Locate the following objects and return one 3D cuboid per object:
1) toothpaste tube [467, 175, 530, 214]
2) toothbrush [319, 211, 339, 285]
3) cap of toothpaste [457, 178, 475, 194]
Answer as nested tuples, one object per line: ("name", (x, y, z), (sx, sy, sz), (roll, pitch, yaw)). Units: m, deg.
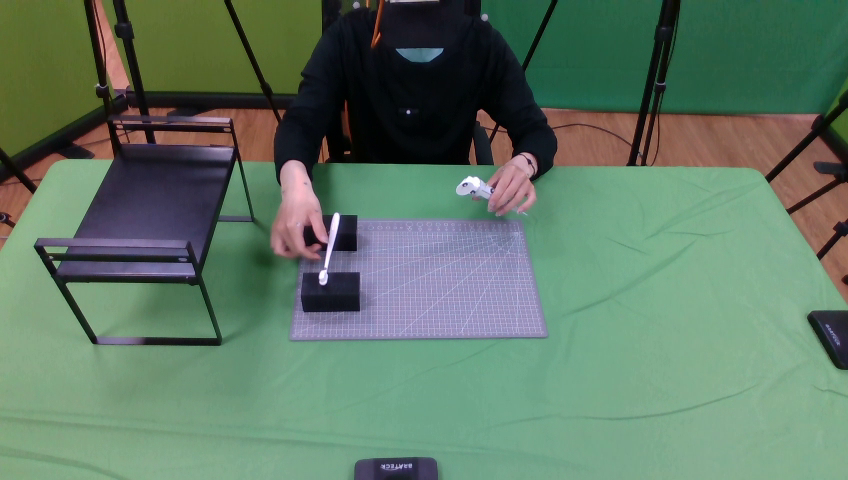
("toothpaste tube", (0.139, -0.086, 1.173), (0.166, 0.034, 0.054), (21, 14, -38))
("toothbrush", (-0.172, 0.009, 1.102), (0.014, 0.017, 0.180), (-5, 44, 8))
("cap of toothpaste", (0.076, -0.100, 1.107), (0.037, 0.037, 0.011), (-12, 54, -15))
